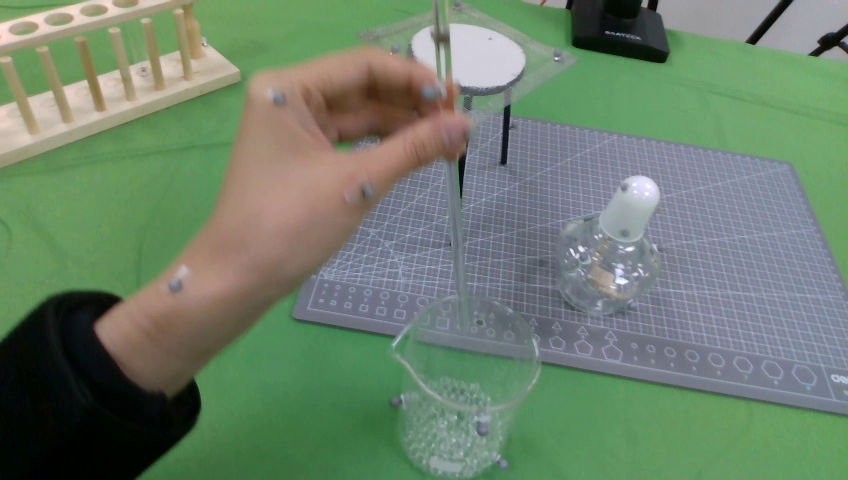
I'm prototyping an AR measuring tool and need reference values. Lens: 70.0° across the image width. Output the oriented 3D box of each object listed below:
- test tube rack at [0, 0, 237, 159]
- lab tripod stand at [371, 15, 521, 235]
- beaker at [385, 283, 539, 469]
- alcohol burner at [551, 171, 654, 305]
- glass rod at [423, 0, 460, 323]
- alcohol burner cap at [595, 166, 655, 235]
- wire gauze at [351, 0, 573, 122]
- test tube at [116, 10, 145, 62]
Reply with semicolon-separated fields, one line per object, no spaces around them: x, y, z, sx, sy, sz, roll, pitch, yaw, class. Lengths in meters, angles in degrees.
-0.296;-0.163;0.542;0.242;0.086;0.066;-32;60;-32;test tube rack
0.024;-0.100;0.499;0.148;0.132;0.147;6;49;-6;lab tripod stand
0.017;0.085;0.360;0.084;0.101;0.073;3;47;-5;beaker
0.137;-0.006;0.446;0.078;0.120;0.077;6;47;-6;alcohol burner
0.009;-0.030;0.273;0.008;0.201;0.008;-3;42;3;glass rod
0.141;-0.029;0.419;0.034;0.048;0.033;4;53;-4;alcohol burner cap
0.029;-0.145;0.449;0.121;0.011;0.124;-33;62;-31;wire gauze
-0.273;-0.229;0.537;0.017;0.151;0.017;3;45;-2;test tube
